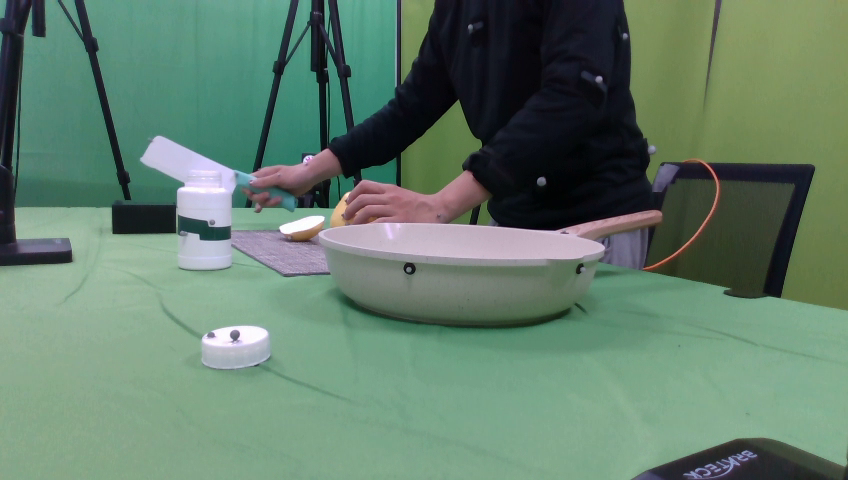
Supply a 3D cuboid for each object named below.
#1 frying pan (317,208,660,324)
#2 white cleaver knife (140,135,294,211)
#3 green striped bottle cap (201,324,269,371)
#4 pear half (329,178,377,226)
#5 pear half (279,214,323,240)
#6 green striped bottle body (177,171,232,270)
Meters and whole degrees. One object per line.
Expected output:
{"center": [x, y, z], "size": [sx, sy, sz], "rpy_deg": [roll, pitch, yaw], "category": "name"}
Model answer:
{"center": [0.121, 0.006, 0.691], "size": [0.490, 0.102, 0.305], "rpy_deg": [-13, 15, -33], "category": "frying pan"}
{"center": [-0.380, -0.111, 1.139], "size": [0.288, 0.066, 0.021], "rpy_deg": [24, -4, -26], "category": "white cleaver knife"}
{"center": [-0.129, 0.073, 0.415], "size": [0.044, 0.020, 0.044], "rpy_deg": [2, 8, 0], "category": "green striped bottle cap"}
{"center": [-0.105, -0.042, 0.945], "size": [0.077, 0.110, 0.055], "rpy_deg": [-10, 14, -42], "category": "pear half"}
{"center": [-0.206, -0.017, 1.018], "size": [0.087, 0.031, 0.070], "rpy_deg": [-7, 17, 35], "category": "pear half"}
{"center": [-0.273, -0.026, 0.752], "size": [0.063, 0.119, 0.063], "rpy_deg": [2, 7, 0], "category": "green striped bottle body"}
